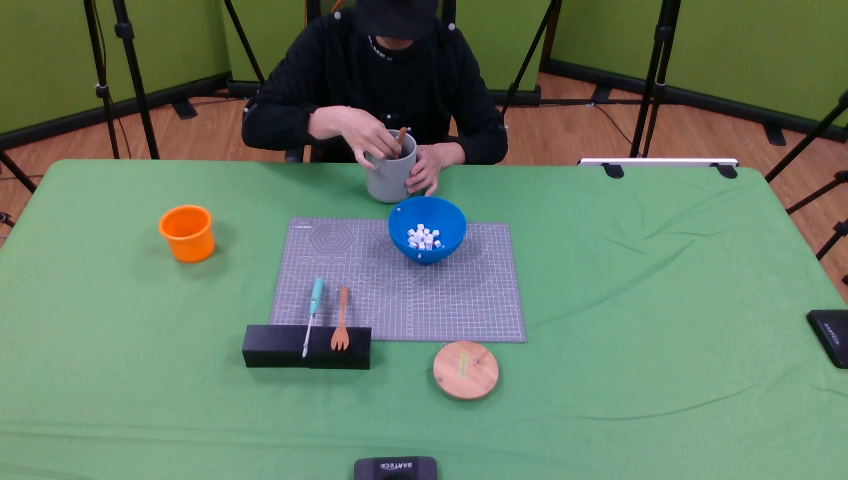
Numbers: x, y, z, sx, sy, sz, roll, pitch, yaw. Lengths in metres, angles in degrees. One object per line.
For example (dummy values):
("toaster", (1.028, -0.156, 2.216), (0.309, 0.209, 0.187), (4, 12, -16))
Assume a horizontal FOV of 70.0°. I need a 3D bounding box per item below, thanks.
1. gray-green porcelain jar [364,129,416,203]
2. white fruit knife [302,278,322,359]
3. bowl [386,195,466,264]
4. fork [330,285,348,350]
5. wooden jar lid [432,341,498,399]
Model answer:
("gray-green porcelain jar", (-0.072, -0.149, 1.264), (0.106, 0.127, 0.105), (3, 46, -2))
("white fruit knife", (-0.189, 0.126, 1.020), (0.016, 0.027, 0.206), (-1, 33, -2))
("bowl", (0.003, -0.007, 1.162), (0.151, 0.077, 0.150), (2, 46, -2))
("fork", (-0.140, 0.127, 1.021), (0.028, 0.019, 0.206), (-5, 28, -2))
("wooden jar lid", (0.067, 0.216, 0.997), (0.108, 0.021, 0.107), (1, 46, -1))
